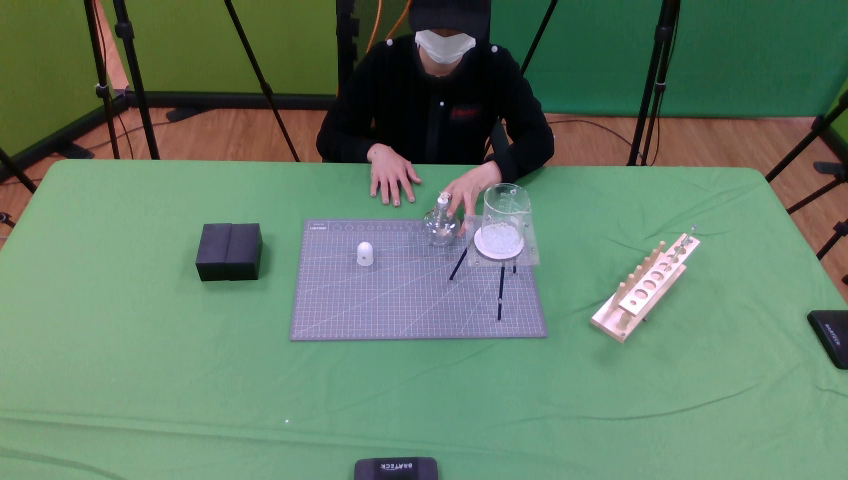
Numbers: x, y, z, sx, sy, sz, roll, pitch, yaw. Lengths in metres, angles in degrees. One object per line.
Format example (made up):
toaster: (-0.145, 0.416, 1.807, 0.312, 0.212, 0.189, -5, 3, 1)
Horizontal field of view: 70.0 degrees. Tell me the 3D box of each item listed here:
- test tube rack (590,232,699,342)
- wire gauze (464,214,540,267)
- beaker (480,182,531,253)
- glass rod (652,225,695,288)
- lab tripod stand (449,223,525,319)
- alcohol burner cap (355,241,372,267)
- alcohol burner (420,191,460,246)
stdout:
test tube rack: (0.407, 0.074, 1.112, 0.066, 0.085, 0.242, 35, 53, 26)
wire gauze: (0.131, -0.001, 1.035, 0.121, 0.011, 0.124, 1, 44, -2)
beaker: (0.133, -0.033, 0.998, 0.083, 0.101, 0.074, 26, 51, 22)
glass rod: (0.432, 0.037, 1.057, 0.008, 0.200, 0.008, 1, 54, -1)
lab tripod stand: (0.120, 0.046, 1.080, 0.148, 0.132, 0.147, 1, 47, -1)
alcohol burner cap: (-0.114, 0.024, 1.147, 0.034, 0.048, 0.033, 2, 45, -2)
alcohol burner: (0.032, -0.046, 1.176, 0.078, 0.120, 0.077, 2, 44, -1)
